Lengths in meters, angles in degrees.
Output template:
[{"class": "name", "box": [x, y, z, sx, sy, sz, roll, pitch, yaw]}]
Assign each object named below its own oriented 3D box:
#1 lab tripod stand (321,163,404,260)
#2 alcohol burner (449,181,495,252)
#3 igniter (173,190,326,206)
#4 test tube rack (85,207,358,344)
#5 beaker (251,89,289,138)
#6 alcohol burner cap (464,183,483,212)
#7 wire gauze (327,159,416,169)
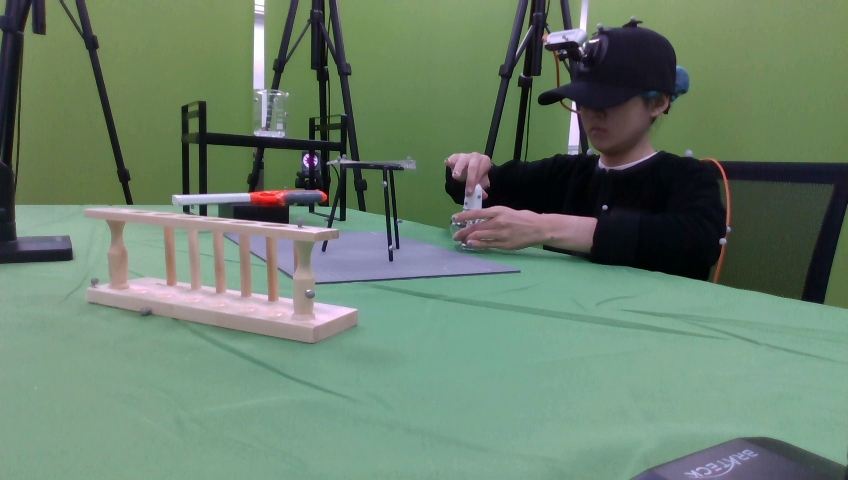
[{"class": "lab tripod stand", "box": [-0.076, -0.045, 0.884, 0.148, 0.131, 0.148, 2, 5, 0]}, {"class": "alcohol burner", "box": [0.082, -0.040, 1.016, 0.078, 0.119, 0.078, 4, 8, 0]}, {"class": "igniter", "box": [-0.317, -0.079, 1.128, 0.278, 0.025, 0.057, -4, 13, -32]}, {"class": "test tube rack", "box": [-0.177, 0.022, 0.518, 0.241, 0.085, 0.067, 6, 7, 23]}, {"class": "beaker", "box": [-0.334, -0.273, 1.316, 0.084, 0.100, 0.074, 6, 8, 15]}, {"class": "alcohol burner cap", "box": [0.083, -0.071, 1.011, 0.034, 0.048, 0.034, 2, 8, 0]}, {"class": "wire gauze", "box": [-0.072, -0.111, 0.872, 0.121, 0.011, 0.125, 3, 5, -2]}]
